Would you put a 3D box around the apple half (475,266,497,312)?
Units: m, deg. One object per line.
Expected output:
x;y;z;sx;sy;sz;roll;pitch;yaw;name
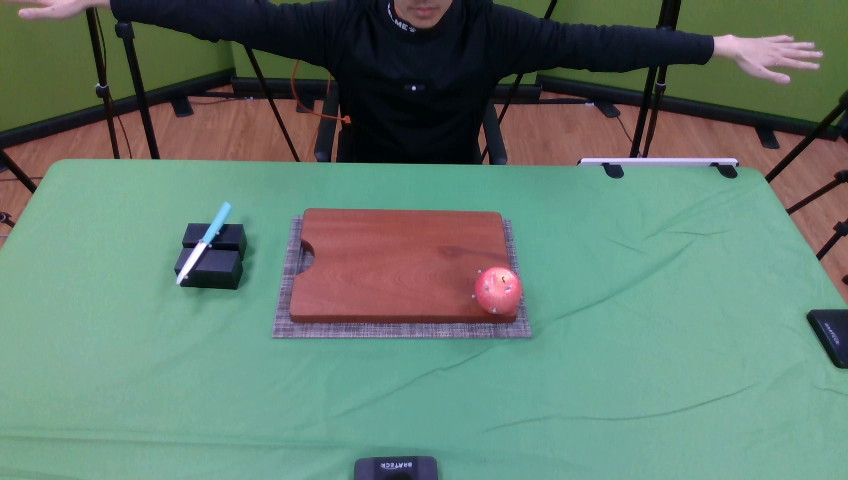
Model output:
0.103;0.085;1.044;0.033;0.081;0.081;10;46;1;apple half

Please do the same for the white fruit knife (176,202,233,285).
-0.397;0.003;1.102;0.027;0.016;0.206;-5;44;24;white fruit knife

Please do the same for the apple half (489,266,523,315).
0.142;0.091;1.043;0.053;0.075;0.080;10;44;1;apple half
